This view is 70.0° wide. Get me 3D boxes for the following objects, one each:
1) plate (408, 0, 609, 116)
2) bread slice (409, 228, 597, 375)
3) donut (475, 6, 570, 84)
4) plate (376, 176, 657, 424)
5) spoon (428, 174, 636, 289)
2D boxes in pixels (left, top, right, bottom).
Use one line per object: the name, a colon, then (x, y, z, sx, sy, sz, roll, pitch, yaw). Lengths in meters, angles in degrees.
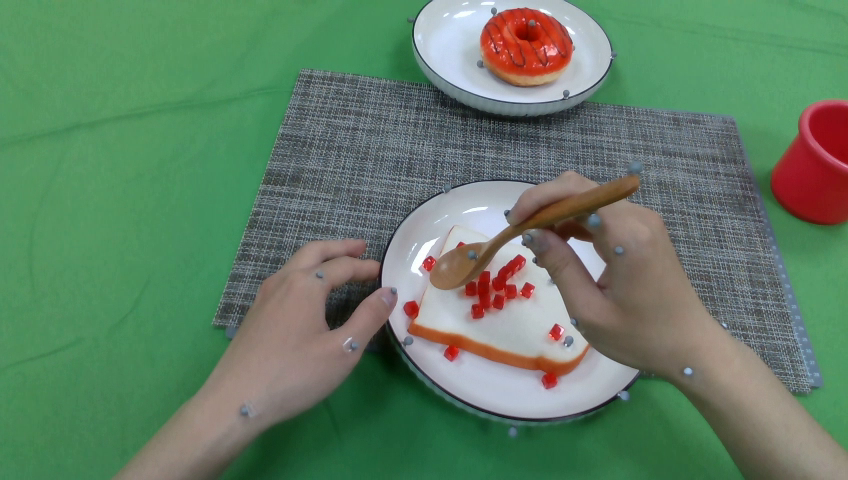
plate: (0.086, -0.196, 0.635, 0.208, 0.039, 0.205, 3, 52, -3)
bread slice: (0.065, 0.045, 0.462, 0.131, 0.019, 0.104, 15, 54, 9)
donut: (0.101, -0.201, 0.626, 0.099, 0.048, 0.098, 3, 55, -4)
plate: (0.068, 0.040, 0.461, 0.209, 0.038, 0.207, 2, 54, -3)
spoon: (0.053, -0.003, 0.366, 0.022, 0.193, 0.041, 36, 62, -11)
